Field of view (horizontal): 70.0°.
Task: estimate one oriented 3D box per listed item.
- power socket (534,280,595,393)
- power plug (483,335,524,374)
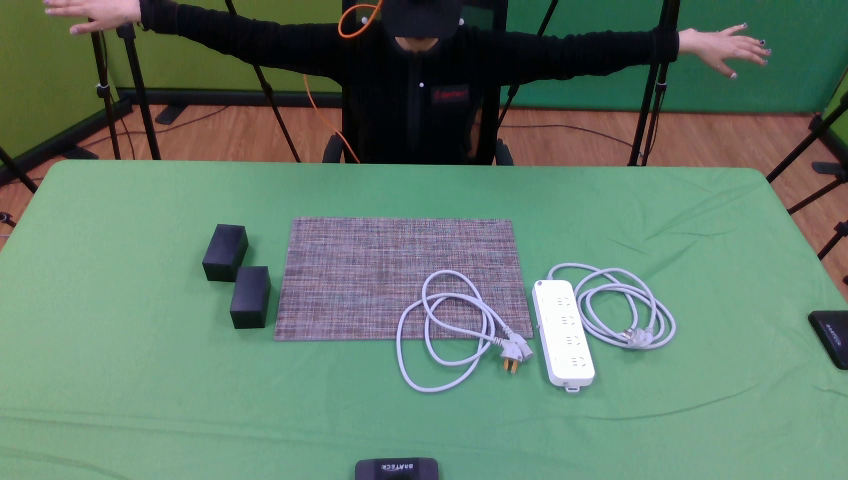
[{"bbox_3d":[0.241,0.158,1.054,0.072,0.033,0.225,1,46,-3],"label":"power socket"},{"bbox_3d":[0.132,0.193,1.019,0.072,0.035,0.052,7,68,25],"label":"power plug"}]
